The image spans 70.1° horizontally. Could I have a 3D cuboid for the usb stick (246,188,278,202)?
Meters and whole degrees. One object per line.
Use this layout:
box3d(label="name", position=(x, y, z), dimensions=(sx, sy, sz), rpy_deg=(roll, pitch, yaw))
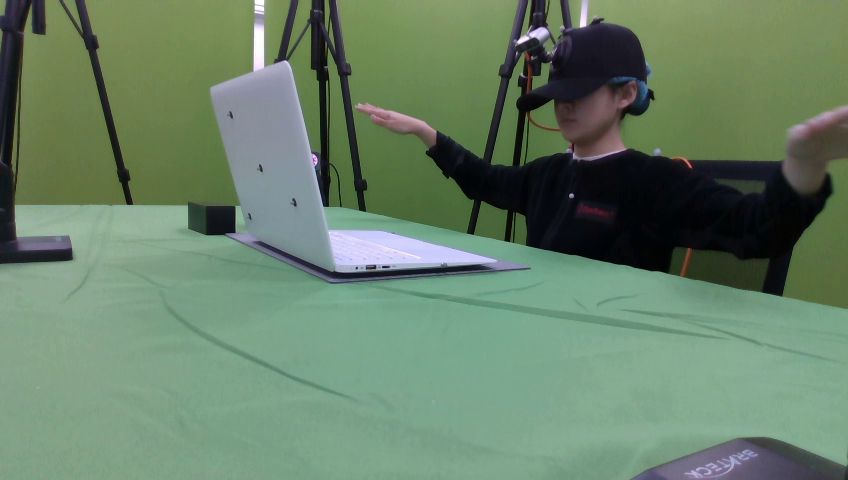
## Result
box3d(label="usb stick", position=(-0.313, -0.086, 1.166), dimensions=(0.059, 0.027, 0.021), rpy_deg=(-4, 12, -32))

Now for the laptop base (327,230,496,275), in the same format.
box3d(label="laptop base", position=(-0.091, 0.016, 0.884), dimensions=(0.237, 0.023, 0.352), rpy_deg=(2, 6, -32))

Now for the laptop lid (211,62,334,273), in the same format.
box3d(label="laptop lid", position=(-0.211, -0.095, 0.791), dimensions=(0.013, 0.241, 0.355), rpy_deg=(-18, 18, -29))
